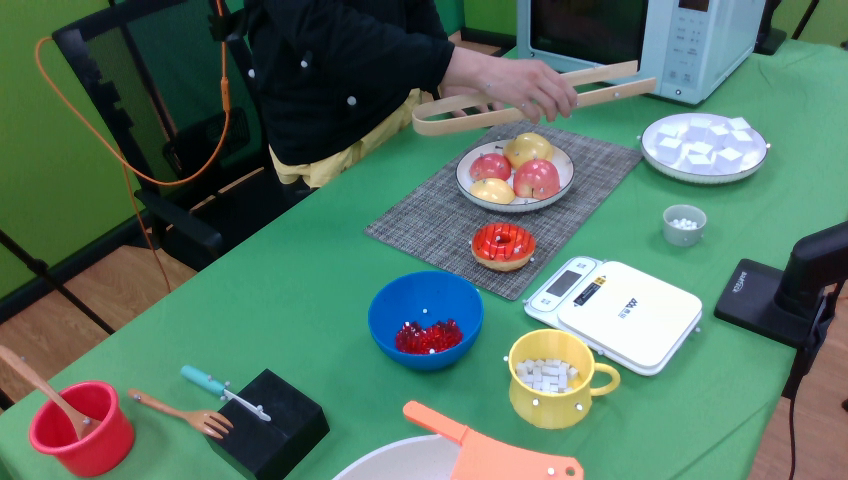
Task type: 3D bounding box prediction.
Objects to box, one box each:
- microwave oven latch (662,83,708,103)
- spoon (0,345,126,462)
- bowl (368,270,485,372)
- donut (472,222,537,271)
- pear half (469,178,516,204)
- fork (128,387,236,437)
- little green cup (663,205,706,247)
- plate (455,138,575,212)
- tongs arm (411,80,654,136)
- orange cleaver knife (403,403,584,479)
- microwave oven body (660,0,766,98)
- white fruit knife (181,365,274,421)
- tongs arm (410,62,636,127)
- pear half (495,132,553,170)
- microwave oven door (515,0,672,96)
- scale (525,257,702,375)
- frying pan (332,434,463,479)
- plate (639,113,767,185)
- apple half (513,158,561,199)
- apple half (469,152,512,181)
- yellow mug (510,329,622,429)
[{"bbox_3d":[0.517,-0.296,1.204,0.078,0.029,0.030,27,52,35],"label":"microwave oven latch"},{"bbox_3d":[-0.434,0.192,0.720,0.194,0.021,0.042,47,53,-6],"label":"spoon"},{"bbox_3d":[0.007,0.119,0.791,0.151,0.077,0.150,-5,39,4],"label":"bowl"},{"bbox_3d":[0.123,0.009,0.923,0.099,0.048,0.098,-4,38,3],"label":"donut"},{"bbox_3d":[0.115,-0.090,1.035,0.087,0.031,0.071,27,37,31],"label":"pear half"},{"bbox_3d":[-0.305,0.207,0.744,0.206,0.019,0.028,3,41,36],"label":"fork"},{"bbox_3d":[0.396,-0.021,0.926,0.061,0.039,0.061,-4,40,4],"label":"little green cup"},{"bbox_3d":[0.159,-0.111,1.063,0.209,0.038,0.208,-4,40,4],"label":"plate"},{"bbox_3d":[0.173,-0.207,0.944,0.388,0.028,0.028,-11,50,-4],"label":"tongs arm"},{"bbox_3d":[0.062,0.223,0.610,0.210,0.012,0.077,15,47,25],"label":"orange cleaver knife"},{"bbox_3d":[0.472,-0.513,1.317,0.438,0.261,0.327,26,51,34],"label":"microwave oven body"},{"bbox_3d":[-0.245,0.187,0.747,0.205,0.027,0.016,9,41,40],"label":"white fruit knife"},{"bbox_3d":[0.165,-0.233,0.971,0.385,0.026,0.050,-11,46,-4],"label":"tongs arm"},{"bbox_3d":[0.175,-0.168,1.094,0.109,0.056,0.076,15,54,30],"label":"pear half"},{"bbox_3d":[0.343,-0.454,1.259,0.353,0.245,0.039,26,51,33],"label":"microwave oven door"},{"bbox_3d":[0.254,0.091,0.821,0.199,0.032,0.149,28,51,35],"label":"scale"},{"bbox_3d":[-0.089,0.306,0.564,0.487,0.103,0.306,10,41,7],"label":"frying pan"},{"bbox_3d":[0.489,-0.157,1.074,0.207,0.039,0.206,-4,40,4],"label":"plate"},{"bbox_3d":[0.194,-0.111,1.031,0.080,0.053,0.075,11,41,26],"label":"apple half"},{"bbox_3d":[0.120,-0.139,1.089,0.081,0.033,0.081,0,45,0],"label":"apple half"},{"bbox_3d":[0.168,0.164,0.721,0.130,0.064,0.099,0,40,8],"label":"yellow mug"}]
